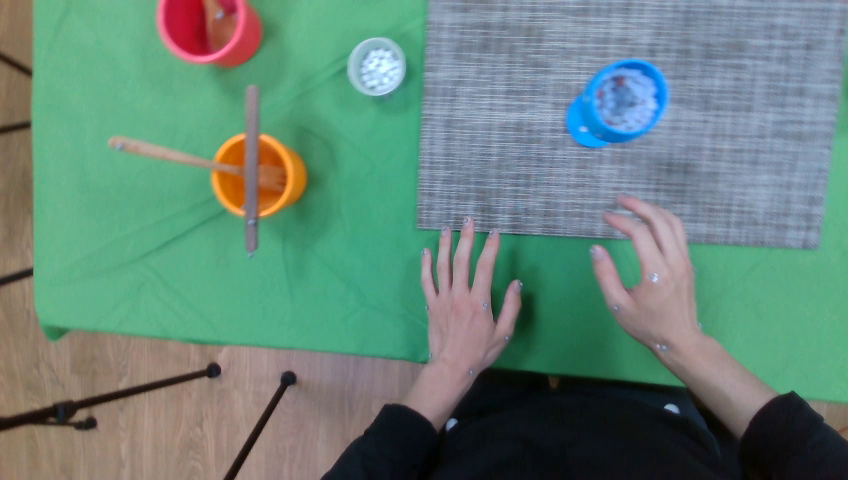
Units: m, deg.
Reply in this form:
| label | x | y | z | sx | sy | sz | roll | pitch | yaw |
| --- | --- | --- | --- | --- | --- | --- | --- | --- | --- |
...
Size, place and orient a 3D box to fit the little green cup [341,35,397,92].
| label | x | y | z | sx | sy | sz | roll | pitch | yaw |
| --- | --- | --- | --- | --- | --- | --- | --- | --- | --- |
| little green cup | -0.059 | -0.196 | 0.683 | 0.061 | 0.038 | 0.061 | 1 | 98 | 6 |

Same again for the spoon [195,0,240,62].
| label | x | y | z | sx | sy | sz | roll | pitch | yaw |
| --- | --- | --- | --- | --- | --- | --- | --- | --- | --- |
| spoon | -0.246 | -0.276 | 0.638 | 0.041 | 0.021 | 0.196 | -11 | 139 | 5 |

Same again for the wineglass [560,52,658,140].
| label | x | y | z | sx | sy | sz | roll | pitch | yaw |
| --- | --- | --- | --- | --- | --- | --- | --- | --- | --- |
| wineglass | 0.175 | -0.136 | 0.594 | 0.073 | 0.172 | 0.074 | 1 | 96 | 6 |

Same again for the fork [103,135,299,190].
| label | x | y | z | sx | sy | sz | roll | pitch | yaw |
| --- | --- | --- | --- | --- | --- | --- | --- | --- | --- |
| fork | -0.233 | -0.084 | 0.658 | 0.209 | 0.018 | 0.028 | 9 | 107 | -39 |

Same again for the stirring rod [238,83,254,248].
| label | x | y | z | sx | sy | sz | roll | pitch | yaw |
| --- | --- | --- | --- | --- | --- | --- | --- | --- | --- |
| stirring rod | -0.191 | -0.079 | 0.652 | 0.014 | 0.006 | 0.176 | 2 | 97 | 6 |
